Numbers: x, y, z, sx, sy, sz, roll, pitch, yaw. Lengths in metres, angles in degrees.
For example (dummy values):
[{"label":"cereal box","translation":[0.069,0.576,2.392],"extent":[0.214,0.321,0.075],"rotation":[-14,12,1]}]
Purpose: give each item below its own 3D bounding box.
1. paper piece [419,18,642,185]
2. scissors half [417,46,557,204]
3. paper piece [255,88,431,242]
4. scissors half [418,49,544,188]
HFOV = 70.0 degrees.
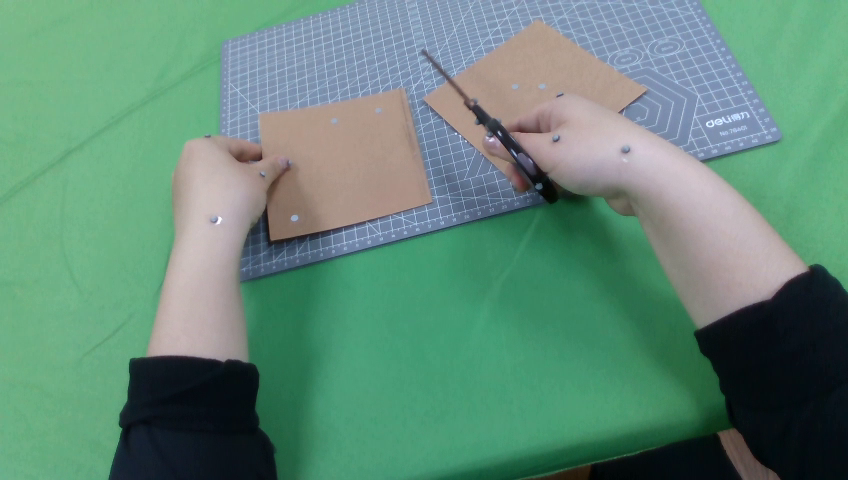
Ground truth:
[{"label":"paper piece","translation":[0.086,-0.125,0.515],"extent":[0.135,0.004,0.134],"rotation":[-37,59,-8]},{"label":"scissors half","translation":[0.043,-0.091,0.456],"extent":[0.013,0.040,0.174],"rotation":[-41,69,11]},{"label":"paper piece","translation":[-0.074,-0.070,0.518],"extent":[0.138,0.009,0.134],"rotation":[-13,55,0]},{"label":"scissors half","translation":[0.034,-0.097,0.438],"extent":[0.013,0.040,0.173],"rotation":[-39,51,7]}]
